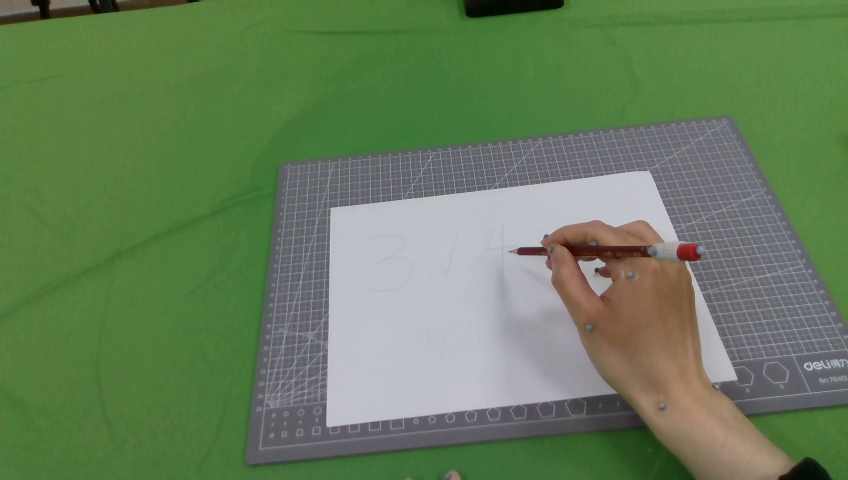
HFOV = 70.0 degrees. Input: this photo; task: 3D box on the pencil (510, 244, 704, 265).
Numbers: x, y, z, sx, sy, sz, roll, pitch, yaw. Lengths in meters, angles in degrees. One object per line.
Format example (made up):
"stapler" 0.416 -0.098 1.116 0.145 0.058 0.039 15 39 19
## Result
"pencil" 0.109 0.009 0.410 0.012 0.012 0.193 -34 12 -20
